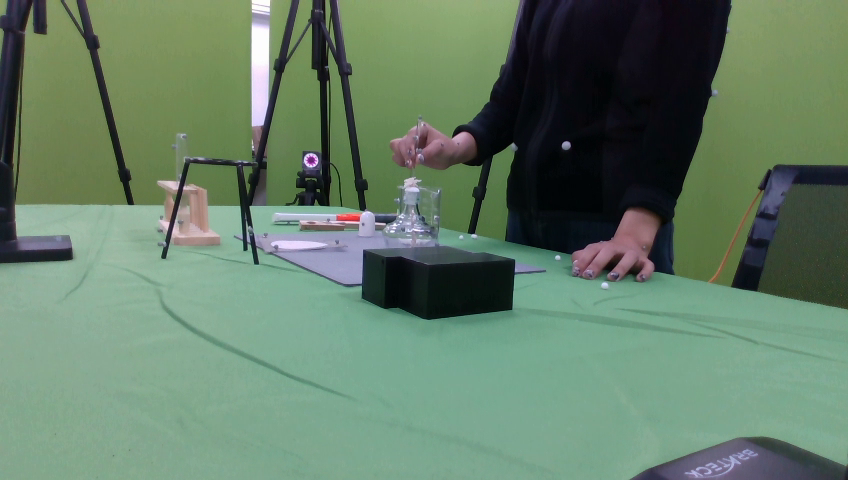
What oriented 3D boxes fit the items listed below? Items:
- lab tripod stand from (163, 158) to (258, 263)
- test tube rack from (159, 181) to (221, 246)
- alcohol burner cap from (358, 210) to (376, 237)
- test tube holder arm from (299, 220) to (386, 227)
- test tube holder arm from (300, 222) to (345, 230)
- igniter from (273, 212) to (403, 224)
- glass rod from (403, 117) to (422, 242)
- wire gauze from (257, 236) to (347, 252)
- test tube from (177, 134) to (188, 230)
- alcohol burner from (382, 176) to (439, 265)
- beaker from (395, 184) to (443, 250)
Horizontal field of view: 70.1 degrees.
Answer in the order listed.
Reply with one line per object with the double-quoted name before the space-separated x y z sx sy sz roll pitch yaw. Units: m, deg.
"lab tripod stand" -0.265 -0.041 0.802 0.148 0.131 0.148 4 7 0
"test tube rack" -0.395 -0.050 1.010 0.067 0.085 0.241 -2 8 -28
"alcohol burner cap" -0.104 -0.030 1.098 0.034 0.048 0.034 2 7 0
"test tube holder arm" -0.158 -0.032 1.195 0.179 0.015 0.013 -2 43 -29
"test tube holder arm" -0.196 -0.027 1.170 0.088 0.015 0.010 -1 43 -28
"igniter" -0.179 -0.048 1.290 0.278 0.025 0.057 -1 -2 -24
"glass rod" -0.019 -0.095 0.963 0.008 0.199 0.008 7 5 0
"wire gauze" -0.189 0.005 0.931 0.122 0.011 0.124 1 7 -21
"test tube" -0.374 -0.089 0.938 0.017 0.150 0.017 2 4 0
"alcohol burner" -0.018 -0.026 0.818 0.078 0.119 0.078 3 9 0
"beaker" -0.007 -0.037 0.964 0.074 0.100 0.083 -4 11 -40
